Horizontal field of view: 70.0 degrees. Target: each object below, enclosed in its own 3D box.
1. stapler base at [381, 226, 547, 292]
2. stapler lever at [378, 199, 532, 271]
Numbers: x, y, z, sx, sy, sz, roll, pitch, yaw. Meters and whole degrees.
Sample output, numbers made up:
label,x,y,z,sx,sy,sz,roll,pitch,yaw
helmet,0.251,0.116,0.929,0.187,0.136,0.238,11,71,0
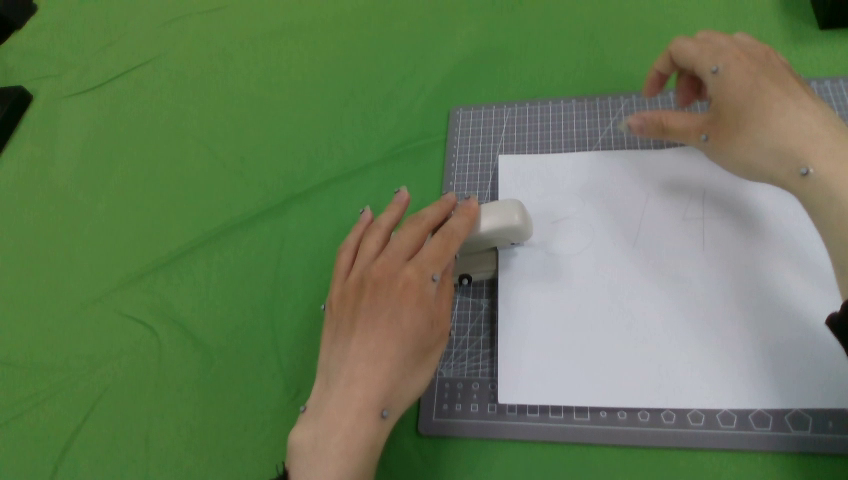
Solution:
label,x,y,z,sx,sy,sz,roll,pitch,yaw
stapler base,0.027,0.010,0.463,0.130,0.025,0.041,-9,55,10
stapler lever,0.020,-0.003,0.442,0.118,0.040,0.026,-9,55,10
